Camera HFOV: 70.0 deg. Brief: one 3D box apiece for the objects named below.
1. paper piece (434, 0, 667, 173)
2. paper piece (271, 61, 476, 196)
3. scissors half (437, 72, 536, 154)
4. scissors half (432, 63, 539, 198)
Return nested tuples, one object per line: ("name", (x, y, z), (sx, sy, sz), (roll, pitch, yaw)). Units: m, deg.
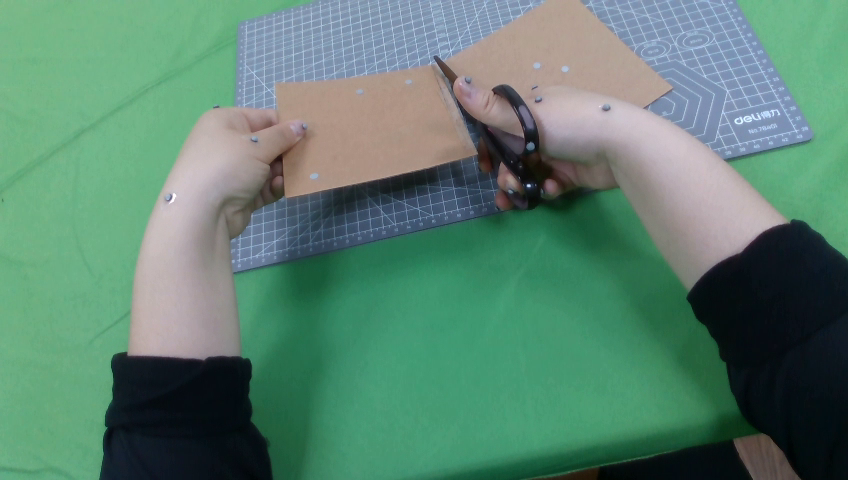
("paper piece", (0.100, -0.135, 0.492), (0.135, 0.004, 0.134), (-33, 69, -8))
("paper piece", (-0.044, -0.090, 0.454), (0.138, 0.009, 0.134), (-12, 44, -4))
("scissors half", (0.035, -0.104, 0.438), (0.013, 0.040, 0.173), (-19, 31, -12))
("scissors half", (0.039, -0.089, 0.452), (0.013, 0.040, 0.173), (-22, 52, -8))
